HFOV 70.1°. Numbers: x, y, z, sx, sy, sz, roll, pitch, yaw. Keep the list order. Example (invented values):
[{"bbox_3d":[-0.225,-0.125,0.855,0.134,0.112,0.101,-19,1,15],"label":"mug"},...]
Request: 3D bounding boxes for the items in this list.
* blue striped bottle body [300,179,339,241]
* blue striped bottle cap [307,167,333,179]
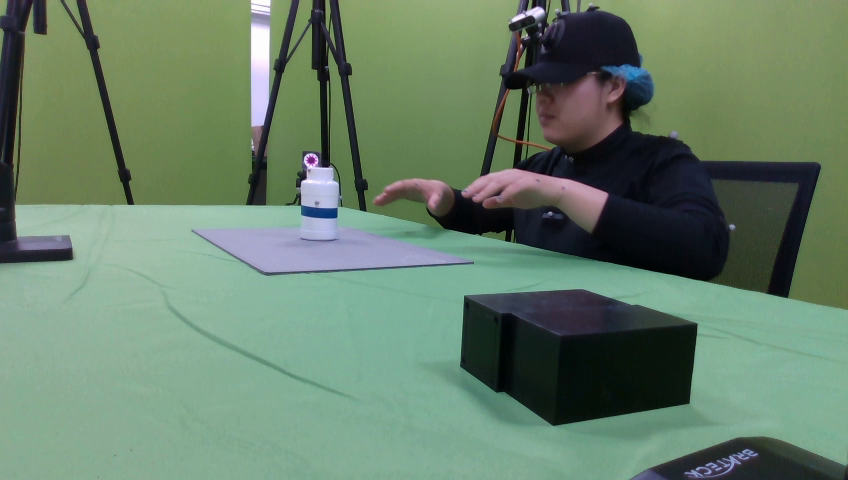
[{"bbox_3d":[-0.176,-0.062,1.018,0.063,0.120,0.063,3,7,0],"label":"blue striped bottle body"},{"bbox_3d":[-0.174,-0.112,1.011,0.044,0.020,0.044,2,6,0],"label":"blue striped bottle cap"}]
